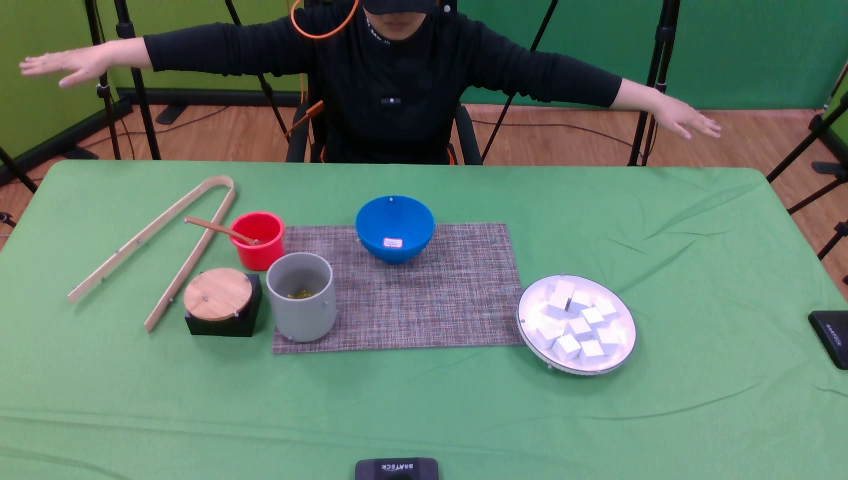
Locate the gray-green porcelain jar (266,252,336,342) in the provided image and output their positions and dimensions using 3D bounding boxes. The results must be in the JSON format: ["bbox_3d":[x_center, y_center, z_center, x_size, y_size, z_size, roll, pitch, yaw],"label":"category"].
[{"bbox_3d":[-0.202,0.100,1.009,0.106,0.127,0.105,2,46,-2],"label":"gray-green porcelain jar"}]

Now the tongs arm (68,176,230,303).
[{"bbox_3d":[-0.510,-0.011,1.162,0.050,0.026,0.383,20,47,14],"label":"tongs arm"}]

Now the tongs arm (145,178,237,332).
[{"bbox_3d":[-0.432,0.014,1.149,0.028,0.028,0.385,8,45,7],"label":"tongs arm"}]

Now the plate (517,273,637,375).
[{"bbox_3d":[0.264,0.149,1.060,0.209,0.038,0.208,3,46,-3],"label":"plate"}]

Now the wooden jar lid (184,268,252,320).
[{"bbox_3d":[-0.343,0.092,1.015,0.108,0.021,0.107,3,46,-3],"label":"wooden jar lid"}]

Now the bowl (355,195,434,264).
[{"bbox_3d":[-0.056,-0.008,1.158,0.151,0.077,0.150,2,46,-2],"label":"bowl"}]

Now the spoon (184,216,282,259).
[{"bbox_3d":[-0.341,-0.008,1.096,0.195,0.021,0.041,29,34,-41],"label":"spoon"}]
